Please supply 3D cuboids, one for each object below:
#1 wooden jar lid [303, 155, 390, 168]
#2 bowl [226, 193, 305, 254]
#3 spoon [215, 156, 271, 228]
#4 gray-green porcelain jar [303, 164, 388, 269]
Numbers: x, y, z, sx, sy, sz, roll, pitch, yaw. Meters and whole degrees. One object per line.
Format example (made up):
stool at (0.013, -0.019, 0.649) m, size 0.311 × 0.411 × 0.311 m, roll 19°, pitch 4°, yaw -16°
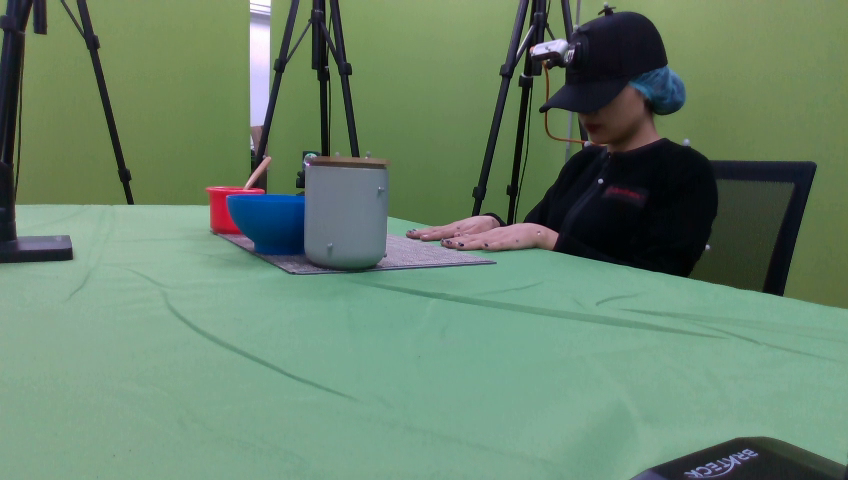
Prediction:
wooden jar lid at (-0.097, -0.095, 0.761) m, size 0.108 × 0.020 × 0.108 m, roll 1°, pitch 7°, yaw 0°
bowl at (-0.205, -0.024, 0.866) m, size 0.151 × 0.077 × 0.151 m, roll 3°, pitch 7°, yaw 0°
spoon at (-0.319, -0.090, 1.091) m, size 0.041 × 0.022 × 0.193 m, roll 7°, pitch 52°, yaw 17°
gray-green porcelain jar at (-0.100, -0.031, 0.770) m, size 0.106 × 0.126 × 0.106 m, roll 2°, pitch 7°, yaw 0°
